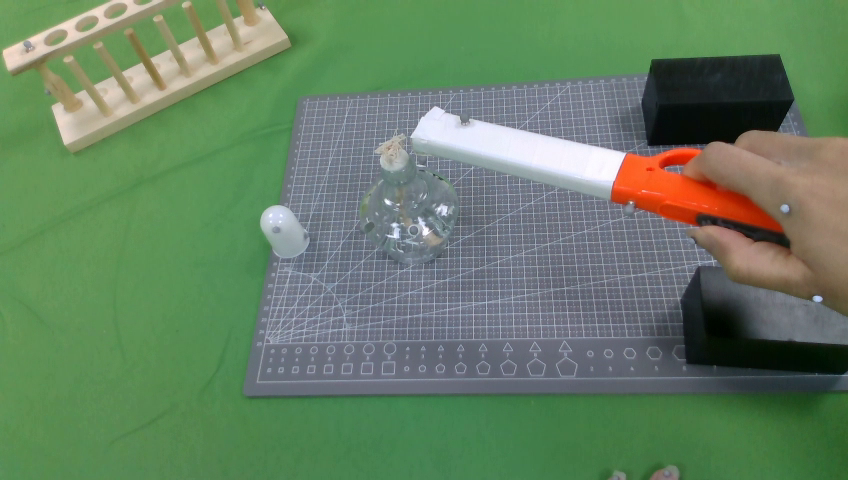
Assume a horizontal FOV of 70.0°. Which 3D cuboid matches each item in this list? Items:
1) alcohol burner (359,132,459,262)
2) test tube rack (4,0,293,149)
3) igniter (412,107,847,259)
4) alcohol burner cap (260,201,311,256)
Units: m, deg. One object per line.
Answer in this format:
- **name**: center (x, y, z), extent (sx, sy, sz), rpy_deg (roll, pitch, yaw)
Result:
- **alcohol burner**: center (-0.014, -0.035, 0.451), extent (0.078, 0.120, 0.077), rpy_deg (-4, 57, 6)
- **test tube rack**: center (-0.263, -0.192, 0.598), extent (0.242, 0.086, 0.066), rpy_deg (-29, 60, -10)
- **igniter**: center (0.122, -0.035, 0.341), extent (0.275, 0.025, 0.057), rpy_deg (16, 59, 22)
- **alcohol burner cap**: center (-0.114, -0.012, 0.493), extent (0.034, 0.048, 0.033), rpy_deg (-4, 60, 7)
